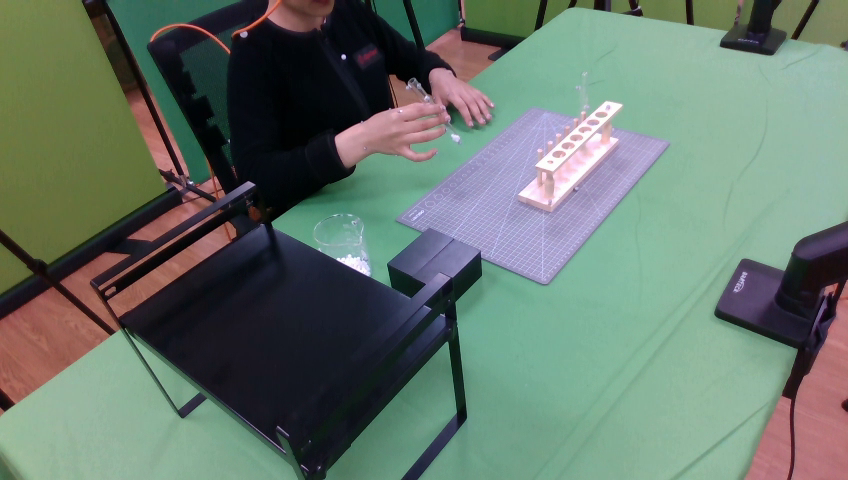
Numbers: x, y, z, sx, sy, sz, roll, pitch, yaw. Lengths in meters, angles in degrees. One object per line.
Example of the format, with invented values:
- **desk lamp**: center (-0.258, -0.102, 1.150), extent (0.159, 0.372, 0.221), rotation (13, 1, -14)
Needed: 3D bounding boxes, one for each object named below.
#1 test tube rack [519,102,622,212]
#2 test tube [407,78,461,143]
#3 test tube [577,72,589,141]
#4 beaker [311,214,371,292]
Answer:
- **test tube rack**: center (0.260, -0.155, 1.065), extent (0.066, 0.085, 0.243), rotation (25, 50, 32)
- **test tube**: center (0.020, -0.216, 1.025), extent (0.017, 0.151, 0.017), rotation (-24, 43, 25)
- **test tube**: center (0.284, -0.233, 1.084), extent (0.017, 0.151, 0.017), rotation (-5, 44, 6)
- **beaker**: center (-0.118, 0.022, 0.908), extent (0.083, 0.101, 0.074), rotation (26, 51, 32)
